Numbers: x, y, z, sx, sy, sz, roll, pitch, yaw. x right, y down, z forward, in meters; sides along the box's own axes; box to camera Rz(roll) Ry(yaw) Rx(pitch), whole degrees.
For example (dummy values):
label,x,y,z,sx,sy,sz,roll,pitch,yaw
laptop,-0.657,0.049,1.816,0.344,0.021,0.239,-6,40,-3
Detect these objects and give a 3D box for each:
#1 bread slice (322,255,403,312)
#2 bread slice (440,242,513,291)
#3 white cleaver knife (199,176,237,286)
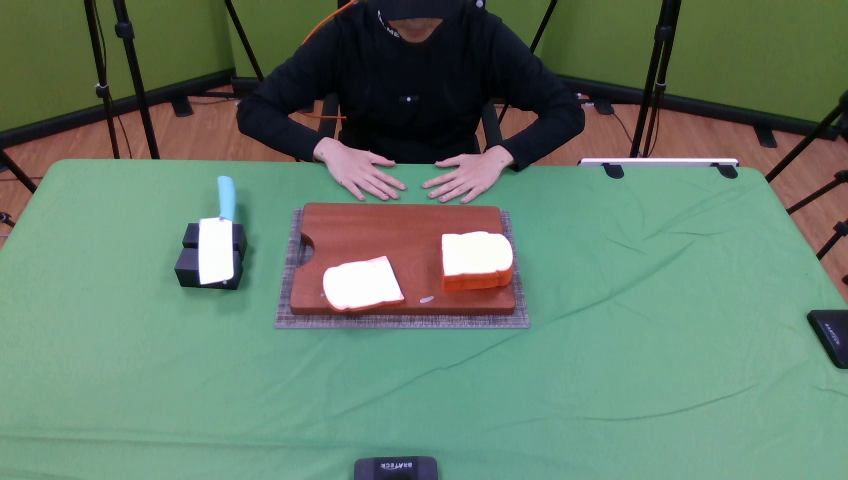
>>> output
label,x,y,z,sx,sy,sz,roll,pitch,yaw
bread slice,-0.114,0.080,1.068,0.132,0.019,0.104,-10,51,-18
bread slice,0.096,0.047,1.116,0.134,0.018,0.106,-1,50,2
white cleaver knife,-0.386,-0.026,1.134,0.066,0.021,0.284,-5,45,-11
